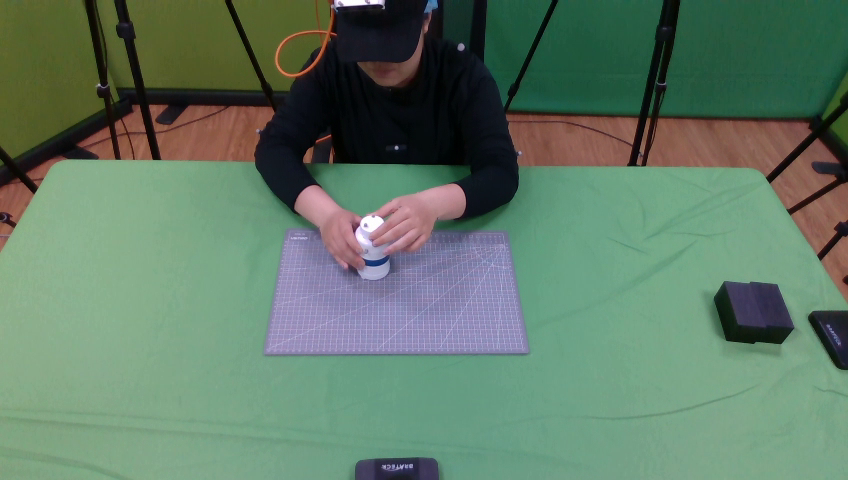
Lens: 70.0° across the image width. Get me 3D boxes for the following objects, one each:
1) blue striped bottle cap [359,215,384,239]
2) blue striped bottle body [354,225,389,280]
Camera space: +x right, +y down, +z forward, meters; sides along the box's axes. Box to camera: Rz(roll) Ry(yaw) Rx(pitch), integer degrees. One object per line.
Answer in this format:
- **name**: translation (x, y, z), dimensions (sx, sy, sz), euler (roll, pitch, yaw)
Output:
- **blue striped bottle cap**: translation (-0.092, -0.023, 1.071), dimensions (0.044, 0.021, 0.044), euler (2, 47, -2)
- **blue striped bottle body**: translation (-0.095, 0.013, 1.107), dimensions (0.063, 0.121, 0.062), euler (2, 45, -2)
